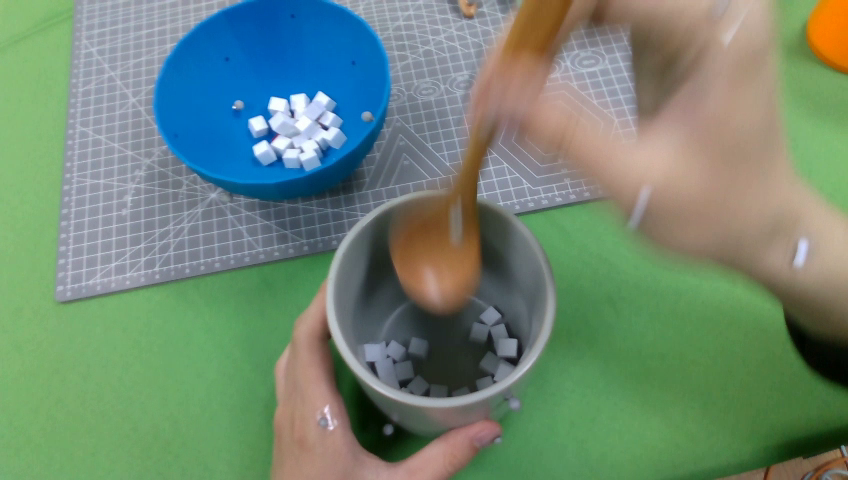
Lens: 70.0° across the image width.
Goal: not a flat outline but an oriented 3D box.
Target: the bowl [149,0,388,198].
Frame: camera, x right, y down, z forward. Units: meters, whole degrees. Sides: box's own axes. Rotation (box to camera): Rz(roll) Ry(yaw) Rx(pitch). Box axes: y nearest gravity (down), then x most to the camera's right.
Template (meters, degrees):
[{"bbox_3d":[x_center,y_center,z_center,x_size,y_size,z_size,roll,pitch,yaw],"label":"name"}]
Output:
[{"bbox_3d":[-0.096,-0.085,0.415,0.151,0.077,0.150,-1,66,2],"label":"bowl"}]

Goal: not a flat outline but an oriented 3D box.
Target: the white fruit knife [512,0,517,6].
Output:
[{"bbox_3d":[0.057,-0.292,0.503,0.016,0.027,0.206,-12,80,-5],"label":"white fruit knife"}]

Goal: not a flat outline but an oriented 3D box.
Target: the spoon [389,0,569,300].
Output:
[{"bbox_3d":[0.019,-0.031,0.215,0.041,0.195,0.021,29,57,4],"label":"spoon"}]

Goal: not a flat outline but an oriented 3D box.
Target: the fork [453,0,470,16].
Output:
[{"bbox_3d":[0.008,-0.284,0.500,0.028,0.018,0.207,-14,84,-10],"label":"fork"}]

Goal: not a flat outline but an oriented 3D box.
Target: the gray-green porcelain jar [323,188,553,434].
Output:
[{"bbox_3d":[0.009,0.047,0.330,0.106,0.127,0.105,-1,66,3],"label":"gray-green porcelain jar"}]
